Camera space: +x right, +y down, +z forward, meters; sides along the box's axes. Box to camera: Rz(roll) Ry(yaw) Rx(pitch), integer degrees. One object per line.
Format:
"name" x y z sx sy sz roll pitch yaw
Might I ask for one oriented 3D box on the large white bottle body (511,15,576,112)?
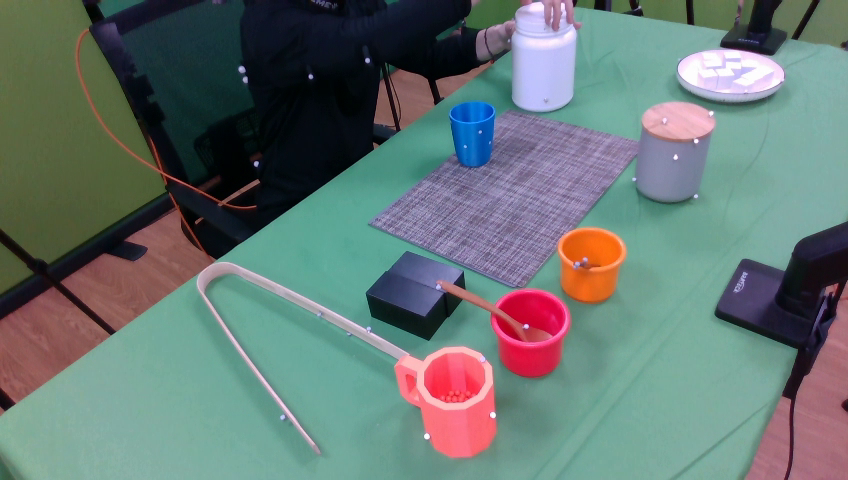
"large white bottle body" 0.247 -0.376 1.253 0.130 0.185 0.130 -5 41 4

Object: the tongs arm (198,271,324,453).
"tongs arm" -0.236 0.154 0.831 0.028 0.028 0.384 -37 48 -18

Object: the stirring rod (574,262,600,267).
"stirring rod" 0.222 0.033 0.816 0.014 0.006 0.177 7 1 22

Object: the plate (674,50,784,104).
"plate" 0.631 -0.336 1.262 0.207 0.039 0.206 -4 41 4

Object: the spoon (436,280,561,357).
"spoon" 0.096 0.095 0.757 0.195 0.021 0.041 34 40 -20

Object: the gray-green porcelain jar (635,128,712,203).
"gray-green porcelain jar" 0.404 -0.133 0.992 0.106 0.127 0.105 -4 40 4

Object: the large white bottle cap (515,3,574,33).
"large white bottle cap" 0.237 -0.440 1.195 0.115 0.018 0.114 -4 41 4

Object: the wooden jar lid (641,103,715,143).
"wooden jar lid" 0.398 -0.180 0.952 0.108 0.021 0.108 -4 43 4

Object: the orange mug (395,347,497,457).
"orange mug" 0.024 0.180 0.703 0.125 0.101 0.083 21 48 23

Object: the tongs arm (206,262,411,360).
"tongs arm" -0.179 0.106 0.870 0.381 0.027 0.051 23 54 32

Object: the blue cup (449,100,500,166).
"blue cup" 0.092 -0.195 1.123 0.092 0.100 0.092 -3 40 3
